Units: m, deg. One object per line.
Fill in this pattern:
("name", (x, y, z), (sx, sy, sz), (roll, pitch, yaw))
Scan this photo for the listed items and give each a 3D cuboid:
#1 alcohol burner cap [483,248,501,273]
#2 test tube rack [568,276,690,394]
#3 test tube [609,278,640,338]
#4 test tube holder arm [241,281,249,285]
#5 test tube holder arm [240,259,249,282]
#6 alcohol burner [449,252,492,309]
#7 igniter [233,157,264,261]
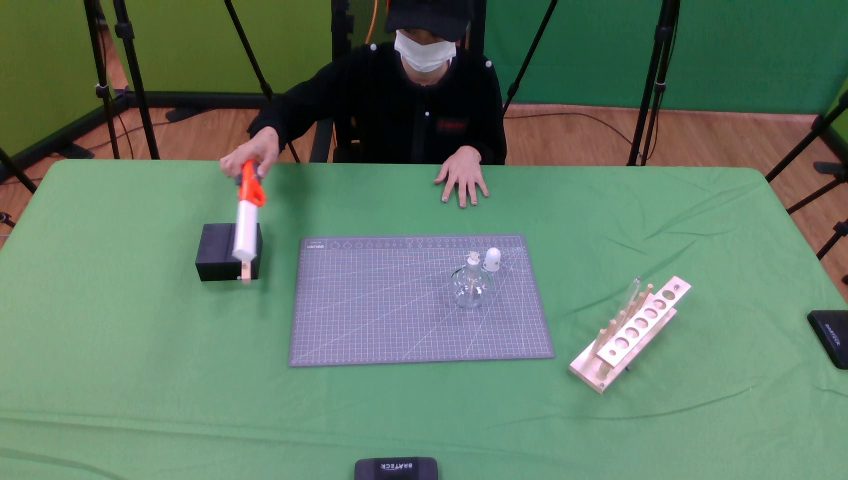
("alcohol burner cap", (0.130, 0.037, 1.156), (0.034, 0.048, 0.033), (1, 46, -1))
("test tube rack", (0.353, 0.149, 1.039), (0.242, 0.085, 0.066), (-34, 56, -31))
("test tube", (0.331, 0.115, 1.007), (0.017, 0.151, 0.017), (2, 45, -2))
("test tube holder arm", (-0.316, 0.043, 1.071), (0.015, 0.010, 0.087), (-2, 48, -15))
("test tube holder arm", (-0.324, 0.006, 1.096), (0.015, 0.013, 0.177), (-2, 48, -15))
("alcohol burner", (0.084, 0.066, 1.074), (0.078, 0.120, 0.077), (1, 44, -1))
("igniter", (-0.303, -0.064, 1.045), (0.057, 0.025, 0.274), (32, 27, -32))
